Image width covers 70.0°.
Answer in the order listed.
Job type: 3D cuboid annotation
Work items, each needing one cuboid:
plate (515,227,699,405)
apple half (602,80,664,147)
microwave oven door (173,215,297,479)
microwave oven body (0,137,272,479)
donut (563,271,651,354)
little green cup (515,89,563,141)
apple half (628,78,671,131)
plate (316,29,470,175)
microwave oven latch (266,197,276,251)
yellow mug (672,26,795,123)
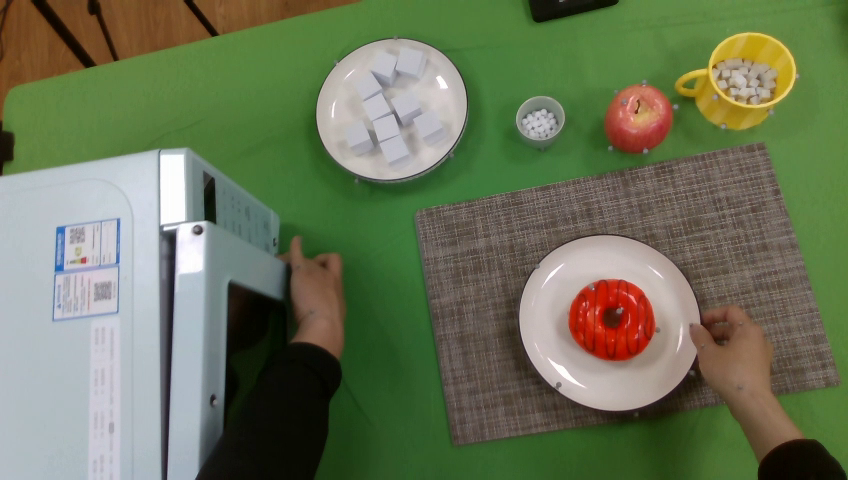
[{"bbox_3d":[0.213,0.088,0.721,0.209,0.038,0.208,-2,78,8],"label":"plate"},{"bbox_3d":[0.252,-0.148,0.754,0.053,0.075,0.080,-37,79,3],"label":"apple half"},{"bbox_3d":[-0.190,0.174,0.637,0.039,0.245,0.354,-5,77,7],"label":"microwave oven door"},{"bbox_3d":[-0.348,0.155,0.668,0.326,0.261,0.439,-8,77,6],"label":"microwave oven body"},{"bbox_3d":[0.214,0.085,0.710,0.099,0.048,0.098,-1,80,7],"label":"donut"},{"bbox_3d":[0.149,-0.160,0.788,0.061,0.039,0.061,-2,77,8],"label":"little green cup"},{"bbox_3d":[0.283,-0.172,0.754,0.033,0.082,0.081,-38,75,3],"label":"apple half"},{"bbox_3d":[-0.041,-0.183,0.819,0.207,0.039,0.206,-2,77,8],"label":"plate"},{"bbox_3d":[-0.208,-0.015,0.785,0.030,0.029,0.079,-4,78,6],"label":"microwave oven latch"},{"bbox_3d":[0.377,-0.203,0.752,0.130,0.064,0.099,0,77,8],"label":"yellow mug"}]
